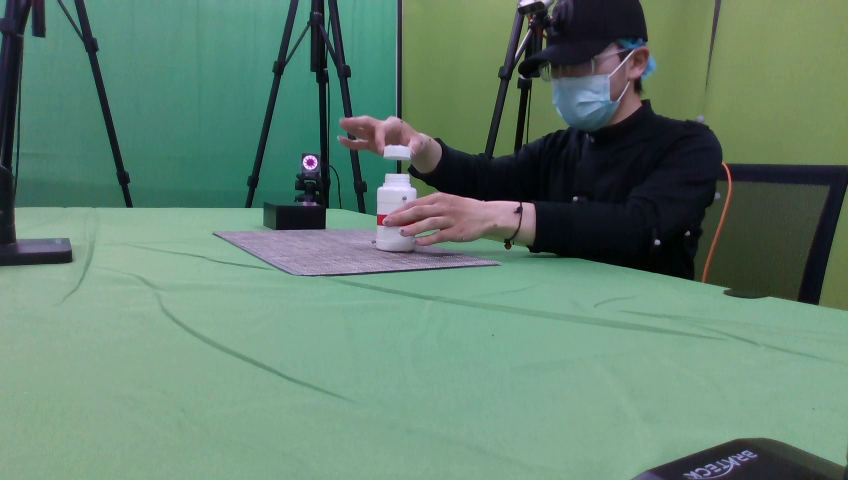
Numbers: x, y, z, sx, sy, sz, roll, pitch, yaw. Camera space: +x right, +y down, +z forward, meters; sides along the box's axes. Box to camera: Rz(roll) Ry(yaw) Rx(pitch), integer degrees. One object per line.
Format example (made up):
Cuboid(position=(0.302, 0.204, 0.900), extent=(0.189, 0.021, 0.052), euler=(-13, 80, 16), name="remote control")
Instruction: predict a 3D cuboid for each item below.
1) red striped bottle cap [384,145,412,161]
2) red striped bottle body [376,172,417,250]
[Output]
Cuboid(position=(-0.041, -0.137, 0.948), extent=(0.044, 0.017, 0.044), euler=(-3, -5, 0), name="red striped bottle cap")
Cuboid(position=(-0.043, -0.046, 0.948), extent=(0.063, 0.119, 0.063), euler=(1, 7, 0), name="red striped bottle body")
